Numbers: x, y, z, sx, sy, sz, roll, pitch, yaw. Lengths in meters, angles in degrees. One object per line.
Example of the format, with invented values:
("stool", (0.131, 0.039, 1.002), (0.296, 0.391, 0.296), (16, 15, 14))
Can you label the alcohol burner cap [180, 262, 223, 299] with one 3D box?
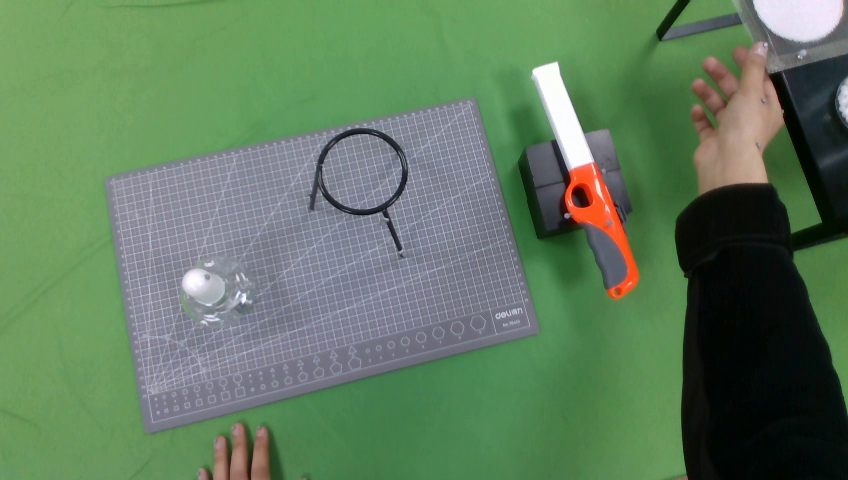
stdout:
("alcohol burner cap", (-0.223, 0.038, 0.600), (0.034, 0.048, 0.033), (1, 73, -1))

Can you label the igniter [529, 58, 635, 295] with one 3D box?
("igniter", (0.174, -0.075, 0.670), (0.057, 0.025, 0.275), (-16, 78, -4))

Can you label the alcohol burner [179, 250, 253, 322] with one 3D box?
("alcohol burner", (-0.223, 0.046, 0.635), (0.078, 0.119, 0.077), (0, 81, -2))

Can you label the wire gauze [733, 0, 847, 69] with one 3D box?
("wire gauze", (0.359, -0.232, 0.580), (0.125, 0.011, 0.121), (-17, 84, -3))

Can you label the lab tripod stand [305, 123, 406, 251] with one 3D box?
("lab tripod stand", (-0.064, -0.064, 0.650), (0.148, 0.132, 0.147), (0, 78, -1))

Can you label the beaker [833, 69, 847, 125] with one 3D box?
("beaker", (0.413, -0.141, 0.519), (0.084, 0.100, 0.074), (43, 81, 7))
